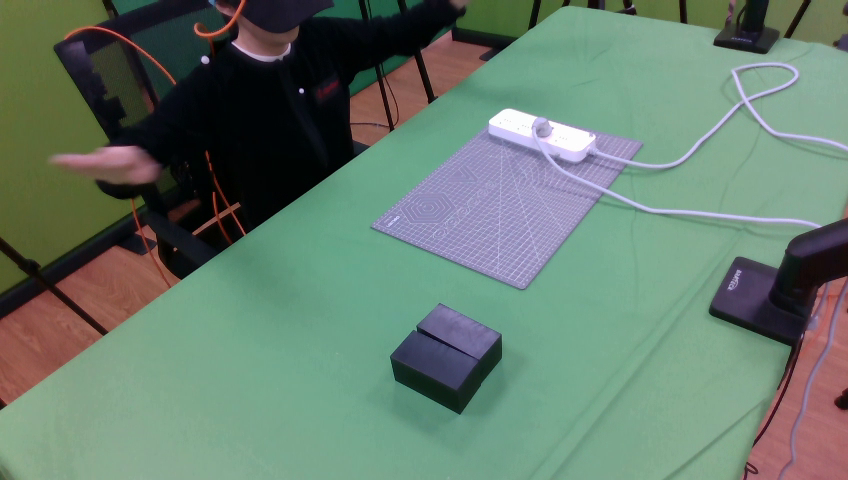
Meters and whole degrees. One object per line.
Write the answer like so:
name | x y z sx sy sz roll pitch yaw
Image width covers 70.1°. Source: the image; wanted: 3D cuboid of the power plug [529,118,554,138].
power plug | 0.212 -0.200 1.131 0.073 0.053 0.035 -30 44 -25

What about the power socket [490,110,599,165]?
power socket | 0.226 -0.201 1.167 0.225 0.033 0.072 27 53 33
